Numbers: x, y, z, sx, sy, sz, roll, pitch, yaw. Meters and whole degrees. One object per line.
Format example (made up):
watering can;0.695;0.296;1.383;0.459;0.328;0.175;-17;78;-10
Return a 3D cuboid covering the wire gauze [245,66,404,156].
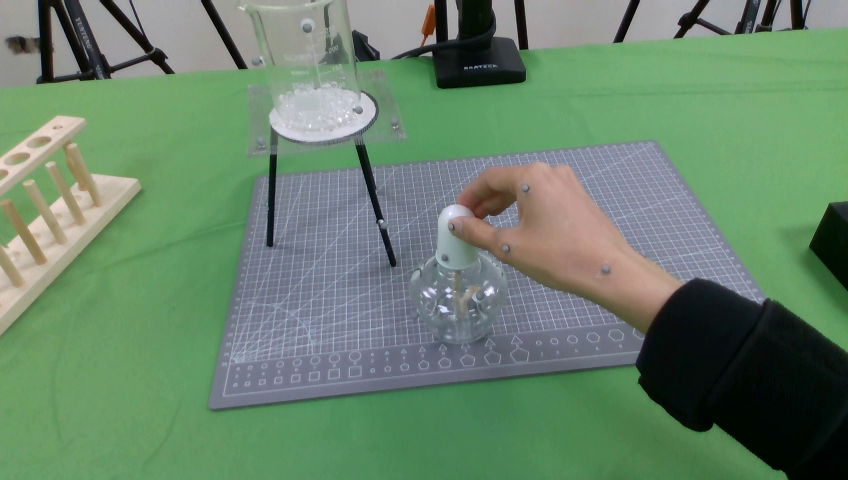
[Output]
wire gauze;-0.086;-0.108;0.501;0.125;0.011;0.120;-11;40;-4

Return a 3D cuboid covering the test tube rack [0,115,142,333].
test tube rack;-0.371;-0.015;0.554;0.066;0.086;0.240;8;43;12

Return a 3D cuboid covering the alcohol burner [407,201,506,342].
alcohol burner;0.025;0.021;0.463;0.078;0.120;0.077;-2;40;2

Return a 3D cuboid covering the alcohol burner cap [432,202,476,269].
alcohol burner cap;0.022;-0.005;0.438;0.034;0.048;0.033;0;43;1

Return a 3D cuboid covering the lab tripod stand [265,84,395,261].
lab tripod stand;-0.083;-0.059;0.545;0.148;0.133;0.147;-2;44;2

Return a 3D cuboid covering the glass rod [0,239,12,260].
glass rod;-0.402;-0.063;0.510;0.008;0.201;0.008;-6;36;4

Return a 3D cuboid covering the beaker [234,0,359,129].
beaker;-0.093;-0.144;0.468;0.084;0.101;0.073;-10;42;-6
